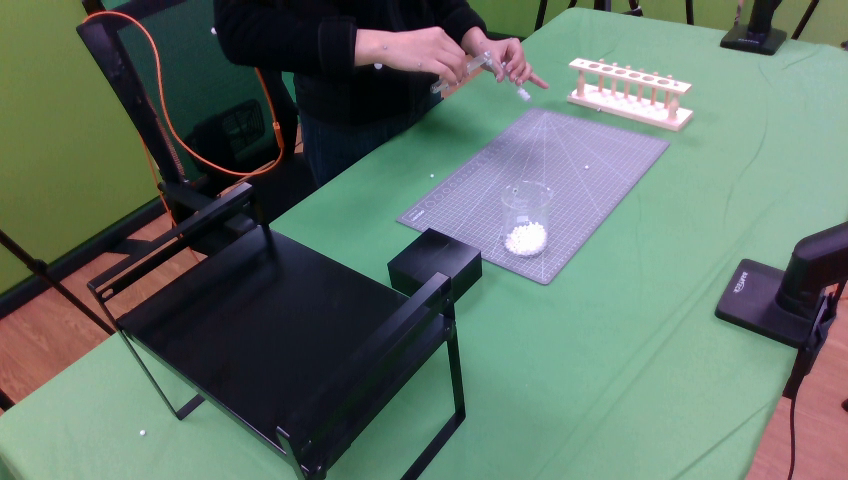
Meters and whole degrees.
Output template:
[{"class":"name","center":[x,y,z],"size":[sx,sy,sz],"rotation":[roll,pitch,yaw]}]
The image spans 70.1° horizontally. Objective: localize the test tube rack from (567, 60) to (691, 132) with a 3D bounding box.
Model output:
[{"class":"test tube rack","center":[0.411,-0.299,1.217],"size":[0.240,0.085,0.067],"rotation":[26,51,34]}]

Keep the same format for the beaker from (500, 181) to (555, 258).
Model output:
[{"class":"beaker","center":[0.159,-0.030,0.922],"size":[0.084,0.100,0.073],"rotation":[-13,41,-8]}]

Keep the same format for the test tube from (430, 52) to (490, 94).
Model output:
[{"class":"test tube","center":[0.060,-0.277,0.999],"size":[0.017,0.017,0.151],"rotation":[26,50,33]}]

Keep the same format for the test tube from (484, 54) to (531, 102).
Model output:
[{"class":"test tube","center":[0.153,-0.291,1.095],"size":[0.017,0.151,0.017],"rotation":[-16,63,34]}]
